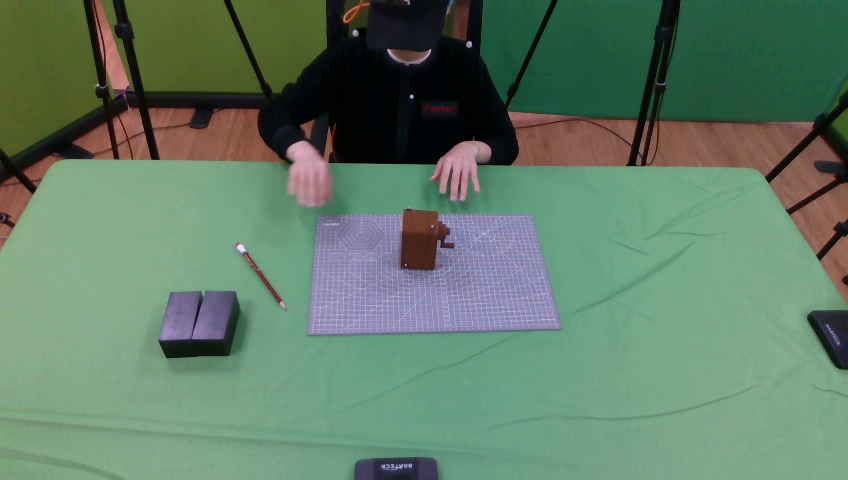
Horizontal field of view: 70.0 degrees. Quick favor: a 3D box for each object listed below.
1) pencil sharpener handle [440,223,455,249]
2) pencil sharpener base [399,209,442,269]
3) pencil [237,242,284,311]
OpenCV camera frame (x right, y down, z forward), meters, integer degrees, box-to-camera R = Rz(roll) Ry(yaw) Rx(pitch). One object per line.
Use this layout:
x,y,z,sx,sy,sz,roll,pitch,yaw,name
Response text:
0.045,-0.007,1.127,0.030,0.068,0.036,3,52,-1,pencil sharpener handle
-0.007,0.000,1.134,0.077,0.107,0.061,3,46,-1,pencil sharpener base
-0.303,0.066,1.122,0.012,0.012,0.193,-26,54,-26,pencil
